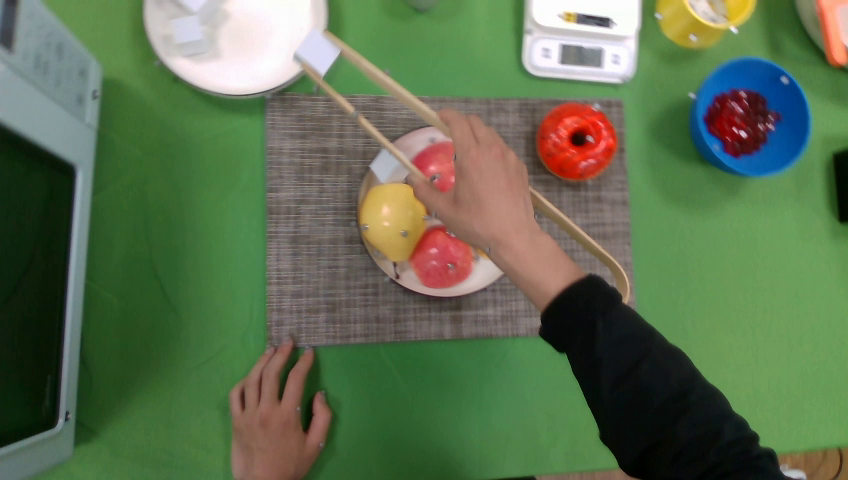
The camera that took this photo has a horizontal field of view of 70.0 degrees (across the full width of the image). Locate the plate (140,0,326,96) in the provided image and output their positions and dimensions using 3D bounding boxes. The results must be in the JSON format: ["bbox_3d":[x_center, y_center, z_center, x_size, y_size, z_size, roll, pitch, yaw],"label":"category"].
[{"bbox_3d":[-0.220,-0.268,0.715,0.208,0.039,0.207,1,84,-8],"label":"plate"}]

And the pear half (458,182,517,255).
[{"bbox_3d":[0.076,-0.027,0.721,0.070,0.031,0.087,0,82,6],"label":"pear half"}]

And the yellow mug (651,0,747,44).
[{"bbox_3d":[0.347,-0.328,0.784,0.100,0.064,0.131,-34,89,-9],"label":"yellow mug"}]

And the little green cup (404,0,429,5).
[{"bbox_3d":[-0.009,-0.325,0.750,0.062,0.038,0.061,1,84,-7],"label":"little green cup"}]

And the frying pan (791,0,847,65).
[{"bbox_3d":[0.673,-0.269,0.803,0.307,0.103,0.486,-28,81,-8],"label":"frying pan"}]

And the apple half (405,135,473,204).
[{"bbox_3d":[0.018,-0.084,0.708,0.075,0.053,0.080,-13,89,-6],"label":"apple half"}]

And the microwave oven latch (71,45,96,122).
[{"bbox_3d":[-0.381,-0.172,0.665,0.030,0.029,0.079,4,84,-8],"label":"microwave oven latch"}]

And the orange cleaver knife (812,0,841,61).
[{"bbox_3d":[0.510,-0.332,0.768,0.077,0.012,0.211,-11,87,-11],"label":"orange cleaver knife"}]

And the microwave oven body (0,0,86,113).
[{"bbox_3d":[-0.518,-0.012,0.533,0.327,0.260,0.440,2,85,-8],"label":"microwave oven body"}]

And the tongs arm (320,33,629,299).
[{"bbox_3d":[0.050,-0.074,0.590,0.387,0.028,0.028,39,77,0],"label":"tongs arm"}]

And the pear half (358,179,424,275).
[{"bbox_3d":[-0.034,-0.015,0.689,0.076,0.056,0.109,-7,88,-17],"label":"pear half"}]

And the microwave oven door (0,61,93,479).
[{"bbox_3d":[-0.373,0.034,0.543,0.039,0.244,0.355,1,84,-7],"label":"microwave oven door"}]

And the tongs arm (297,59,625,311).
[{"bbox_3d":[0.035,-0.056,0.587,0.384,0.026,0.050,43,81,0],"label":"tongs arm"}]

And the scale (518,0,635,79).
[{"bbox_3d":[0.198,-0.312,0.780,0.149,0.031,0.200,3,84,-7],"label":"scale"}]

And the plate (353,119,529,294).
[{"bbox_3d":[0.021,-0.038,0.721,0.209,0.038,0.208,1,84,-8],"label":"plate"}]

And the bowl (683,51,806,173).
[{"bbox_3d":[0.388,-0.152,0.767,0.152,0.077,0.151,1,85,-7],"label":"bowl"}]

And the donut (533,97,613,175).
[{"bbox_3d":[0.183,-0.129,0.749,0.099,0.048,0.099,1,84,-5],"label":"donut"}]

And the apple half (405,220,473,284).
[{"bbox_3d":[0.018,0.014,0.707,0.081,0.033,0.081,1,78,-6],"label":"apple half"}]
